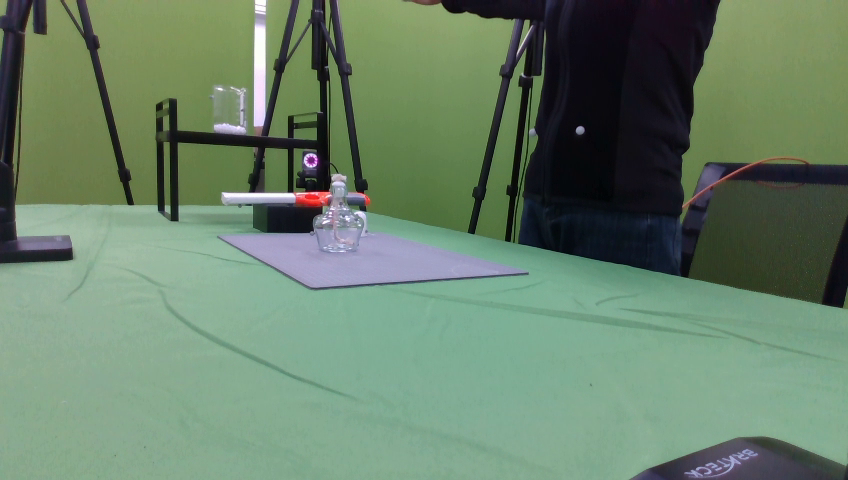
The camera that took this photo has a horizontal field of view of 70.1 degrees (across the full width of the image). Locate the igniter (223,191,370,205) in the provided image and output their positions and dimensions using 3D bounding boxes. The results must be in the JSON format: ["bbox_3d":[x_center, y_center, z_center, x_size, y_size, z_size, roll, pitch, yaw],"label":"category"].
[{"bbox_3d":[-0.239,-0.080,1.159,0.278,0.025,0.057,-2,20,-26],"label":"igniter"}]

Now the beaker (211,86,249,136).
[{"bbox_3d":[-0.413,-0.274,1.297,0.074,0.100,0.083,-5,11,-44],"label":"beaker"}]

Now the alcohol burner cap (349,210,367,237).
[{"bbox_3d":[-0.118,-0.030,1.095,0.034,0.048,0.034,2,8,0],"label":"alcohol burner cap"}]

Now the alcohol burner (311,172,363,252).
[{"bbox_3d":[-0.130,-0.042,0.906,0.078,0.119,0.078,2,6,0],"label":"alcohol burner"}]
